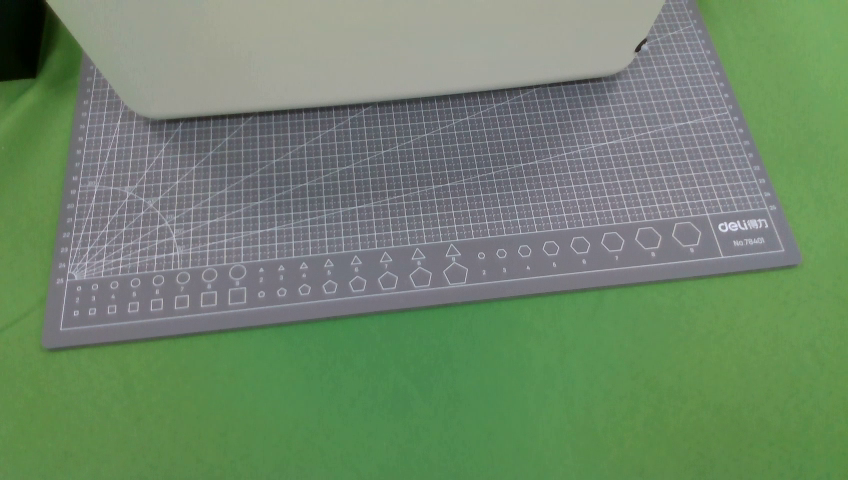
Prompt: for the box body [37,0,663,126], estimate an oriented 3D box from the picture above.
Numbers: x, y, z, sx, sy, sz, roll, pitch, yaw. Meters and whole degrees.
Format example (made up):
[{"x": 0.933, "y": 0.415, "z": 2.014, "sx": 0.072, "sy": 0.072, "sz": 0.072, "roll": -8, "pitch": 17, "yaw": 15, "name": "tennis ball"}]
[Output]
[{"x": -0.039, "y": -0.228, "z": 0.392, "sx": 0.364, "sy": 0.161, "sz": 0.252, "roll": -7, "pitch": 65, "yaw": -5, "name": "box body"}]
